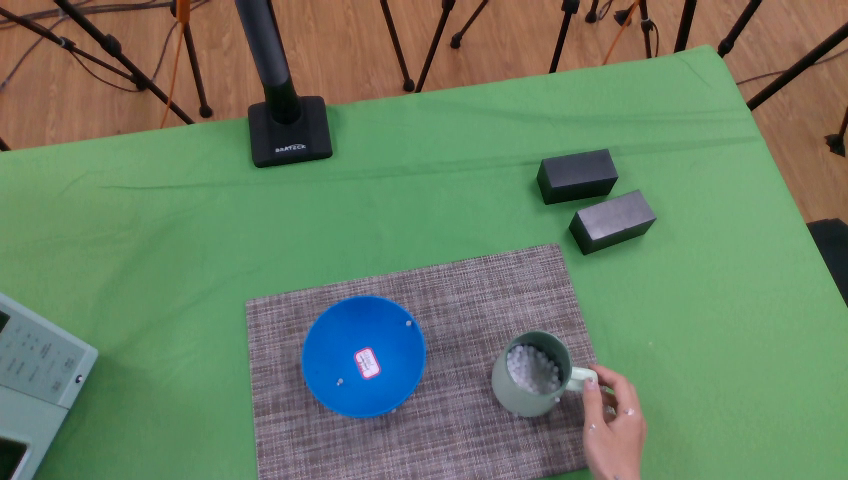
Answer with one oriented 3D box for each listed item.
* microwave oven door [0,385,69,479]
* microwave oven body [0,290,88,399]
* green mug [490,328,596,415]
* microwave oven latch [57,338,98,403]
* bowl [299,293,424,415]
[{"bbox_3d":[-0.505,0.304,0.574,0.039,0.245,0.353,15,66,7],"label":"microwave oven door"},{"bbox_3d":[-0.633,0.231,0.611,0.325,0.262,0.439,16,66,6],"label":"microwave oven body"},{"bbox_3d":[0.147,0.163,0.743,0.125,0.106,0.092,7,64,3],"label":"green mug"},{"bbox_3d":[-0.440,0.160,0.755,0.030,0.030,0.078,17,66,7],"label":"microwave oven latch"},{"bbox_3d":[-0.074,0.150,0.760,0.151,0.077,0.150,0,65,0],"label":"bowl"}]
